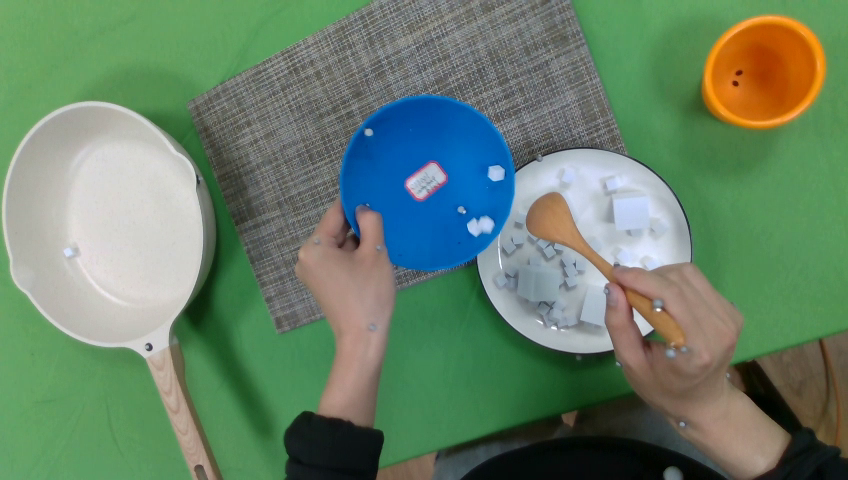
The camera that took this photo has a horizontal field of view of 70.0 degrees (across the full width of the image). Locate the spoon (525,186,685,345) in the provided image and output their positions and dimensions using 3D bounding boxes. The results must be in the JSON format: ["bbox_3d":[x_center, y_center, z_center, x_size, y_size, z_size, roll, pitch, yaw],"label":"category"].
[{"bbox_3d":[0.126,0.012,0.441,0.041,0.022,0.191,-51,39,12],"label":"spoon"}]

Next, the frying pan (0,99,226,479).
[{"bbox_3d":[-0.339,0.073,0.729,0.306,0.103,0.486,-26,82,18],"label":"frying pan"}]

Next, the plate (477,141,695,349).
[{"bbox_3d":[0.159,0.005,0.610,0.207,0.039,0.208,2,100,15],"label":"plate"}]

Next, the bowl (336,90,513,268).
[{"bbox_3d":[0.003,-0.056,0.546,0.151,0.076,0.152,1,101,5],"label":"bowl"}]
